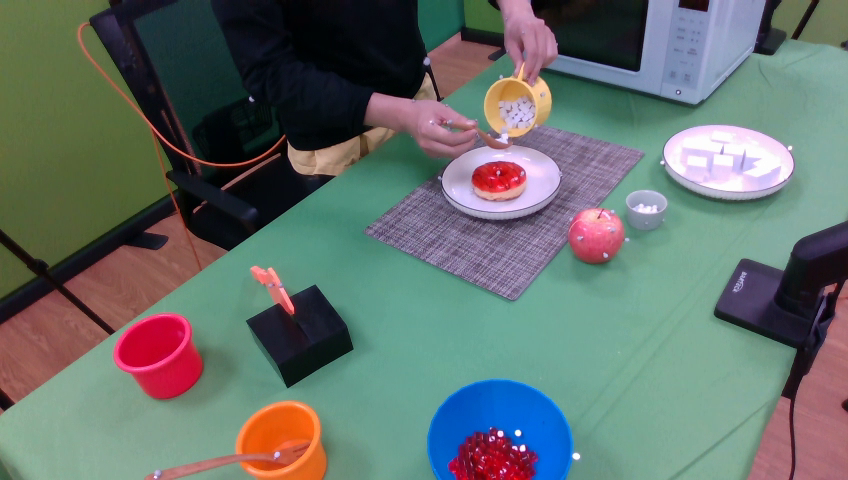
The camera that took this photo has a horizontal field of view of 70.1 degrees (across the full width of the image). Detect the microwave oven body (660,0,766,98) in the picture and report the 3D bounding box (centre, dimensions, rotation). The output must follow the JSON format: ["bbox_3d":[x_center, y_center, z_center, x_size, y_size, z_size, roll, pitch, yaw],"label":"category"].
[{"bbox_3d":[0.472,-0.513,1.317,0.438,0.261,0.327,26,51,34],"label":"microwave oven body"}]

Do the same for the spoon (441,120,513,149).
[{"bbox_3d":[0.082,-0.164,0.931,0.041,0.021,0.195,11,1,36],"label":"spoon"}]

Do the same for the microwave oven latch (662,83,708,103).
[{"bbox_3d":[0.518,-0.296,1.204,0.078,0.029,0.030,28,52,35],"label":"microwave oven latch"}]

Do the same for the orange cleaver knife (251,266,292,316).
[{"bbox_3d":[-0.221,0.071,0.873,0.012,0.077,0.210,-25,11,-21],"label":"orange cleaver knife"}]

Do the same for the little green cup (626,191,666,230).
[{"bbox_3d":[0.352,-0.046,0.963,0.061,0.039,0.061,-4,40,4],"label":"little green cup"}]

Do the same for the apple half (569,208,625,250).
[{"bbox_3d":[0.262,-0.014,0.913,0.080,0.075,0.053,5,37,20],"label":"apple half"}]

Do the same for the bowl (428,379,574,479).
[{"bbox_3d":[0.082,0.233,0.644,0.151,0.077,0.150,-4,39,4],"label":"bowl"}]

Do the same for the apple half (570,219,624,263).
[{"bbox_3d":[0.250,0.009,0.885,0.081,0.081,0.033,8,39,17],"label":"apple half"}]

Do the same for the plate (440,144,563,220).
[{"bbox_3d":[0.134,-0.098,1.051,0.209,0.038,0.208,-4,40,4],"label":"plate"}]

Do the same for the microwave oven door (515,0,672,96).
[{"bbox_3d":[0.343,-0.455,1.259,0.353,0.245,0.039,26,51,33],"label":"microwave oven door"}]

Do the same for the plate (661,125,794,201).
[{"bbox_3d":[0.513,-0.128,1.035,0.207,0.039,0.206,-4,40,4],"label":"plate"}]

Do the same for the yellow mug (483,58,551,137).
[{"bbox_3d":[0.164,-0.247,1.037,0.099,0.131,0.064,24,31,22],"label":"yellow mug"}]

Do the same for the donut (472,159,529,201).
[{"bbox_3d":[0.132,-0.105,1.043,0.099,0.048,0.098,-5,38,4],"label":"donut"}]

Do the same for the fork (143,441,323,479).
[{"bbox_3d":[-0.189,0.231,0.631,0.028,0.018,0.209,35,13,37],"label":"fork"}]
